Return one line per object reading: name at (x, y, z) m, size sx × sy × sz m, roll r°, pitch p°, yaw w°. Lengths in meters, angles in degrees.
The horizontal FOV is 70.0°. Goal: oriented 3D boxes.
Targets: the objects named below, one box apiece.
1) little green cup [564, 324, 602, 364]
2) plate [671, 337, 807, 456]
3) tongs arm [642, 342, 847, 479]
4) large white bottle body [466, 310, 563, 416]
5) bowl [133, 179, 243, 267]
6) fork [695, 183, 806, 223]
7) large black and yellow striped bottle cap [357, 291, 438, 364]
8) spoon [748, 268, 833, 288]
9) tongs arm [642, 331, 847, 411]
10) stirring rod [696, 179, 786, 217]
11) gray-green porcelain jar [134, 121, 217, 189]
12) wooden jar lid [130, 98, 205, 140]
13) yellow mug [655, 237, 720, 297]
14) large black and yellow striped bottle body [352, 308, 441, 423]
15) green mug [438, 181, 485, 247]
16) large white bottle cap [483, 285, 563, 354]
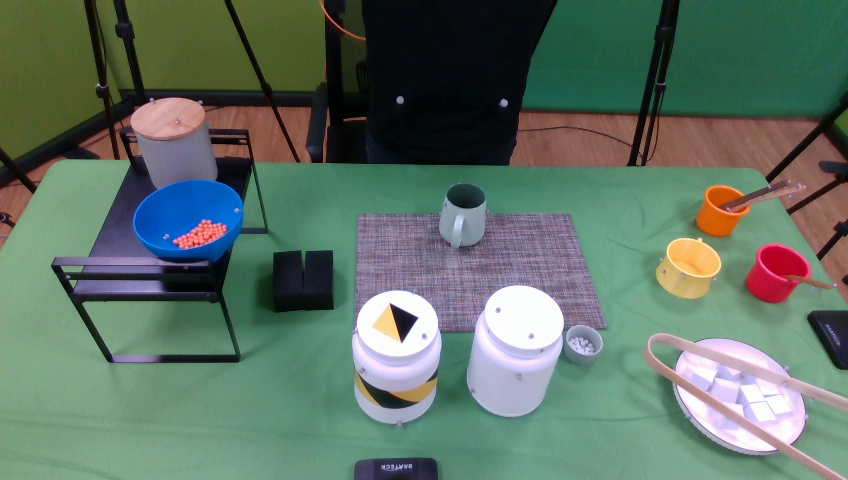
little green cup at (0.269, 0.179, 1.035) m, size 0.061 × 0.039 × 0.061 m, roll 2°, pitch 45°, yaw -2°
plate at (0.503, 0.254, 0.984) m, size 0.208 × 0.039 × 0.206 m, roll 2°, pitch 46°, yaw -2°
tongs arm at (0.504, 0.278, 0.918) m, size 0.386 × 0.028 × 0.028 m, roll 34°, pitch 59°, yaw 22°
large white bottle body at (0.138, 0.171, 0.932) m, size 0.131 × 0.185 × 0.130 m, roll 2°, pitch 46°, yaw -2°
bowl at (-0.339, -0.013, 0.895) m, size 0.151 × 0.077 × 0.150 m, roll 2°, pitch 46°, yaw -2°
fork at (0.658, -0.075, 1.229) m, size 0.207 × 0.019 × 0.028 m, roll -24°, pitch 36°, yaw 36°
large black and yellow striped bottle cap at (-0.037, 0.121, 0.851) m, size 0.115 × 0.019 × 0.114 m, roll 1°, pitch 46°, yaw -1°
spoon at (0.660, 0.068, 1.098) m, size 0.041 × 0.193 × 0.021 m, roll -4°, pitch 91°, yaw -6°
tongs arm at (0.546, 0.227, 0.968) m, size 0.384 × 0.026 × 0.050 m, roll 22°, pitch 52°, yaw 13°
stirring rod at (0.648, -0.086, 1.244) m, size 0.176 × 0.006 × 0.014 m, roll -25°, pitch 48°, yaw 29°
gray-green porcelain jar at (-0.397, -0.141, 0.980) m, size 0.106 × 0.127 × 0.105 m, roll 2°, pitch 47°, yaw -2°
wooden jar lid at (-0.393, -0.183, 0.934) m, size 0.108 × 0.021 × 0.107 m, roll 2°, pitch 44°, yaw -2°
yellow mug at (0.509, 0.041, 1.167) m, size 0.099 × 0.064 × 0.130 m, roll 24°, pitch 48°, yaw 18°
large black and yellow striped bottle body at (-0.042, 0.177, 0.913) m, size 0.131 × 0.185 × 0.130 m, roll 2°, pitch 47°, yaw -2°
green mug at (0.071, -0.039, 1.178) m, size 0.092 × 0.105 × 0.124 m, roll 12°, pitch 47°, yaw 7°
large white bottle cap at (0.142, 0.112, 0.871) m, size 0.115 × 0.018 × 0.114 m, roll 3°, pitch 46°, yaw -2°
